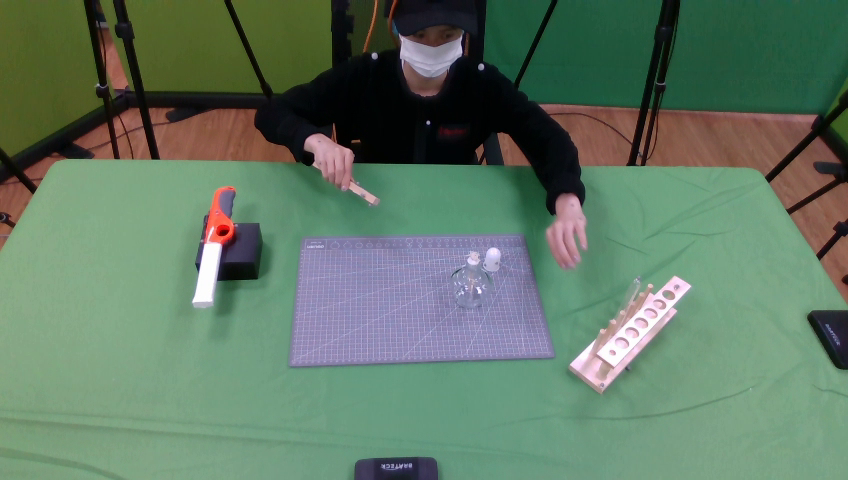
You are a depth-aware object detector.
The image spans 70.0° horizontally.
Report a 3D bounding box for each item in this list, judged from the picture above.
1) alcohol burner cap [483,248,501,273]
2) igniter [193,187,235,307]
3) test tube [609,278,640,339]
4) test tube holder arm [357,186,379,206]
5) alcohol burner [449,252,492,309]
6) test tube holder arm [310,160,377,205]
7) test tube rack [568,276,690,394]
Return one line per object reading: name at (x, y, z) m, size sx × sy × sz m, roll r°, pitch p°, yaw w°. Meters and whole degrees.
alcohol burner cap at (0.130, 0.037, 1.156) m, size 0.034 × 0.048 × 0.033 m, roll 1°, pitch 46°, yaw -1°
igniter at (-0.379, 0.003, 1.096) m, size 0.057 × 0.025 × 0.274 m, roll -1°, pitch 49°, yaw -6°
test tube at (0.331, 0.115, 1.007) m, size 0.017 × 0.151 × 0.017 m, roll 2°, pitch 45°, yaw -2°
test tube holder arm at (-0.121, -0.090, 1.152) m, size 0.087 × 0.010 × 0.015 m, roll 33°, pitch 90°, yaw 27°
alcohol burner at (0.084, 0.066, 1.073) m, size 0.078 × 0.120 × 0.077 m, roll 1°, pitch 44°, yaw -1°
test tube holder arm at (-0.157, -0.113, 1.167) m, size 0.177 × 0.013 × 0.015 m, roll 33°, pitch 90°, yaw 27°
test tube rack at (0.353, 0.149, 1.039) m, size 0.242 × 0.085 × 0.066 m, roll -34°, pitch 56°, yaw -31°
